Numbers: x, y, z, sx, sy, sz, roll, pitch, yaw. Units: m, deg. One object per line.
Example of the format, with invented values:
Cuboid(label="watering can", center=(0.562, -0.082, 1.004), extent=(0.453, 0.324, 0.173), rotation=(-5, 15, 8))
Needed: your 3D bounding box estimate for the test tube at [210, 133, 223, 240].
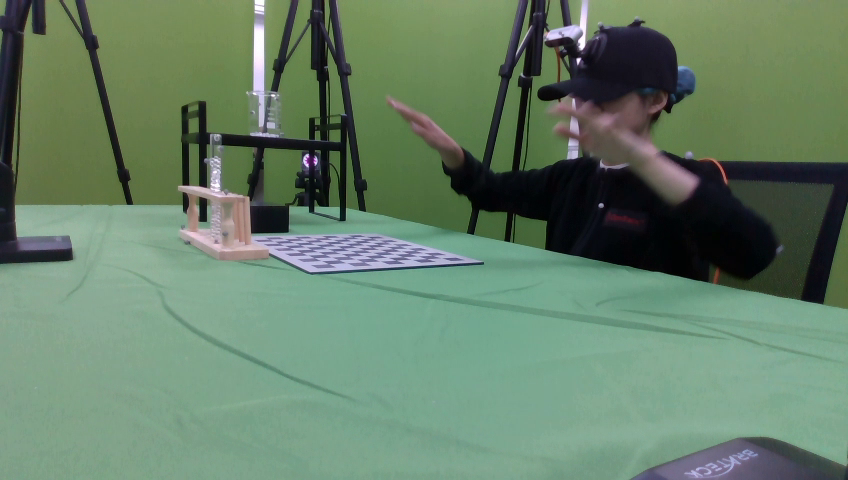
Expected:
Cuboid(label="test tube", center=(-0.293, -0.075, 0.852), extent=(0.017, 0.150, 0.017), rotation=(1, 2, 0))

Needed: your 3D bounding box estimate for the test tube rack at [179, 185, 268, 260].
Cuboid(label="test tube rack", center=(-0.303, -0.031, 0.898), extent=(0.067, 0.085, 0.241), rotation=(-2, 9, -33))

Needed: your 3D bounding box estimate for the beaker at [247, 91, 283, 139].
Cuboid(label="beaker", center=(-0.357, -0.278, 1.348), extent=(0.073, 0.100, 0.084), rotation=(9, 10, 39))
